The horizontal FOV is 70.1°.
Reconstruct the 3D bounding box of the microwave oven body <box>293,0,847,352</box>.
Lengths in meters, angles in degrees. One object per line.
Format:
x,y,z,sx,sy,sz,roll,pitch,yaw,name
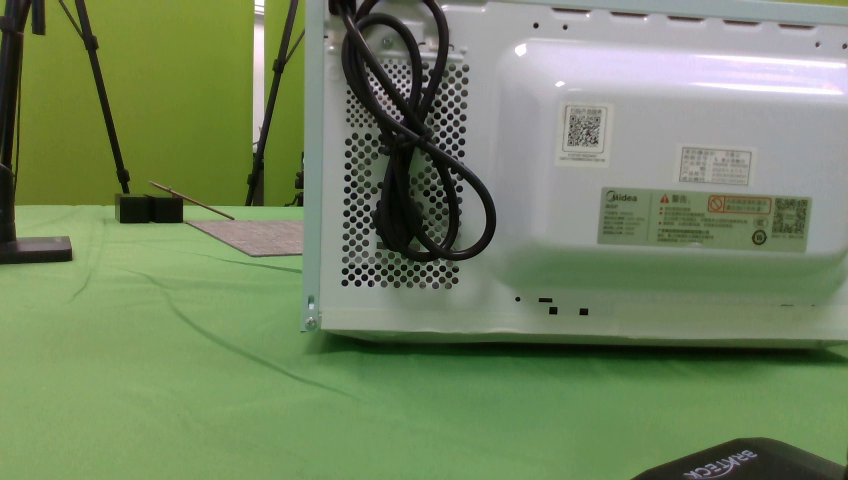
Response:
0.122,-0.055,0.550,0.442,0.260,0.325,3,7,-5,microwave oven body

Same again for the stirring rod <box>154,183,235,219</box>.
-0.472,-0.079,1.252,0.177,0.006,0.014,27,4,-35,stirring rod

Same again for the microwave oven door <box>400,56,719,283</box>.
0.155,-0.077,0.698,0.356,0.243,0.039,2,8,-5,microwave oven door

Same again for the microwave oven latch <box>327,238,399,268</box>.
-0.069,0.015,0.694,0.079,0.029,0.030,3,7,-3,microwave oven latch
